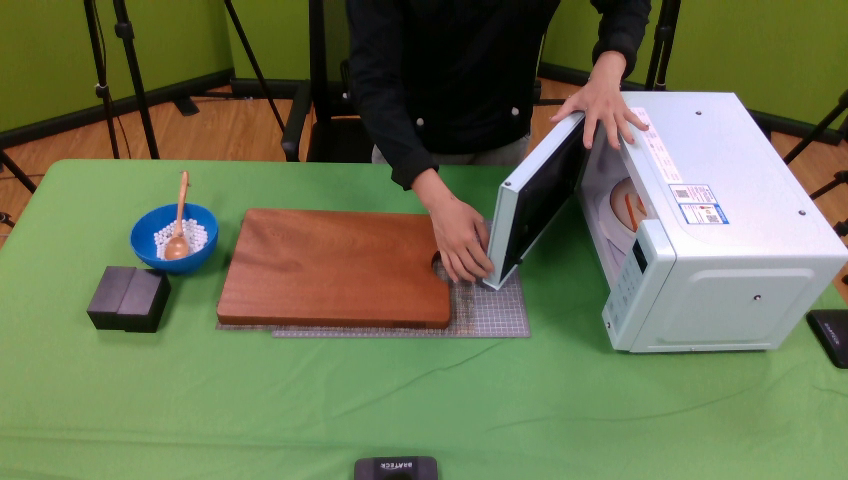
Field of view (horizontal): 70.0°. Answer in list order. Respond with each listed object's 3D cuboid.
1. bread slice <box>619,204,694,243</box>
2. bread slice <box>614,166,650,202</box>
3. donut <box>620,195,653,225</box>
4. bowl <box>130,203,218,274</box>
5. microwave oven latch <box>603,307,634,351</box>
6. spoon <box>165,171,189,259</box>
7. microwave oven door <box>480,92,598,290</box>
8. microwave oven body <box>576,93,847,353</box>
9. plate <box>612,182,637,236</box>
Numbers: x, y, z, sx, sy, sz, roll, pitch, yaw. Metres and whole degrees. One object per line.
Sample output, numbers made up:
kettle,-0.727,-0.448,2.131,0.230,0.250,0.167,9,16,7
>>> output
bread slice,0.464,-0.037,1.203,0.131,0.019,0.104,-7,35,7
bread slice,0.439,-0.105,1.154,0.134,0.018,0.106,-1,39,-21
donut,0.431,-0.060,1.175,0.099,0.048,0.098,-8,26,4
bowl,-0.450,0.010,1.116,0.151,0.077,0.150,3,45,-3
microwave oven latch,0.332,0.153,1.044,0.030,0.029,0.078,0,45,-3
spoon,-0.452,-0.046,1.128,0.041,0.022,0.193,-1,69,-2
microwave oven door,0.222,-0.099,1.139,0.039,0.245,0.355,28,50,21
microwave oven body,0.475,-0.041,1.110,0.326,0.261,0.438,-1,45,-4
plate,0.472,-0.053,1.189,0.208,0.039,0.206,-1,45,1
